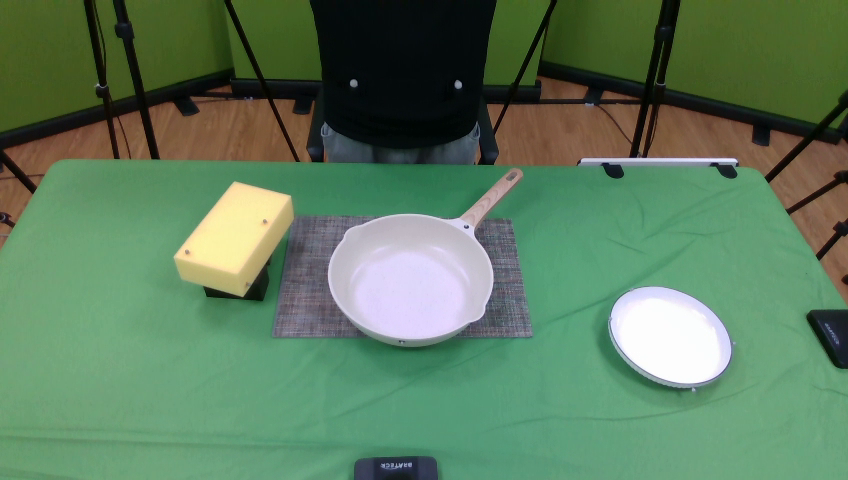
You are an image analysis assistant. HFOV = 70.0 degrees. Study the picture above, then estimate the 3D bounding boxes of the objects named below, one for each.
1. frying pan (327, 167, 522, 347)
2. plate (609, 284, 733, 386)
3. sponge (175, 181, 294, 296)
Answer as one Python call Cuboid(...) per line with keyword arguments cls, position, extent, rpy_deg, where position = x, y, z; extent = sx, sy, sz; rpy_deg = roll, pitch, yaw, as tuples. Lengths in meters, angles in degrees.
Cuboid(cls="frying pan", position=(0.042, 0.009, 1.132), extent=(0.305, 0.103, 0.487), rpy_deg=(34, 61, 24))
Cuboid(cls="plate", position=(0.425, 0.167, 1.059), extent=(0.208, 0.039, 0.206), rpy_deg=(2, 46, -2))
Cuboid(cls="sponge", position=(-0.333, -0.007, 1.086), extent=(0.118, 0.061, 0.206), rpy_deg=(14, 47, 9))
